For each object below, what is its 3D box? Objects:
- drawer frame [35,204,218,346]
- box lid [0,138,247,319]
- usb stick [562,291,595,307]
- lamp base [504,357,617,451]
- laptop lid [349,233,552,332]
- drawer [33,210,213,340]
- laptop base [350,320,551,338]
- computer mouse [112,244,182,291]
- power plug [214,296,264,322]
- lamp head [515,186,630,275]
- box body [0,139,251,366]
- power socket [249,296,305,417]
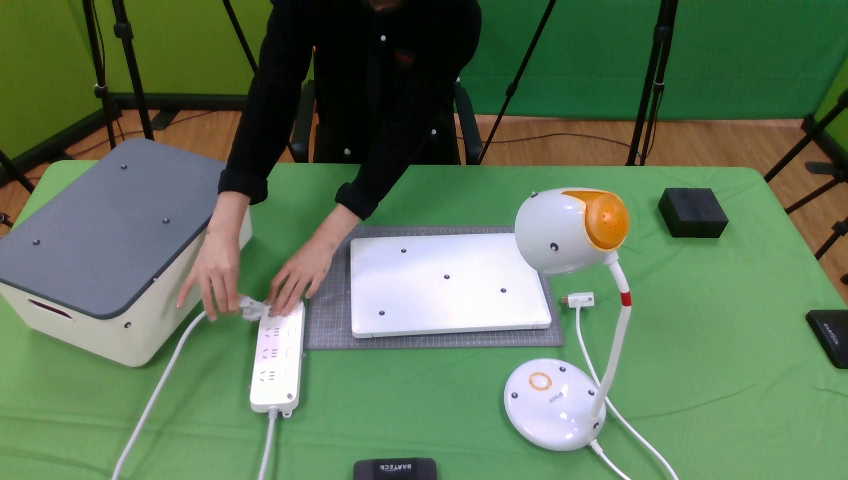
[{"bbox_3d":[-0.505,0.054,1.052,0.201,0.083,0.212,14,52,11],"label":"drawer frame"},{"bbox_3d":[-0.494,-0.037,0.994,0.263,0.015,0.370,17,46,12],"label":"box lid"},{"bbox_3d":[0.280,0.109,1.105,0.059,0.021,0.027,-6,13,23],"label":"usb stick"},{"bbox_3d":[0.220,0.211,0.903,0.160,0.181,0.178,-32,59,-30],"label":"lamp base"},{"bbox_3d":[0.040,0.070,1.119,0.357,0.013,0.240,-1,44,-5],"label":"laptop lid"},{"bbox_3d":[-0.509,0.054,1.046,0.194,0.073,0.211,15,43,11],"label":"drawer"},{"bbox_3d":[0.040,0.080,1.125,0.355,0.023,0.234,-2,43,-6],"label":"laptop base"},{"bbox_3d":[-0.492,0.046,1.078,0.117,0.041,0.062,24,41,13],"label":"computer mouse"},{"bbox_3d":[-0.294,0.109,0.975,0.072,0.053,0.035,12,46,4],"label":"power plug"},{"bbox_3d":[0.188,-0.013,0.728,0.112,0.112,0.122,-25,9,-25],"label":"lamp head"},{"bbox_3d":[-0.496,0.013,1.048,0.254,0.161,0.362,17,47,12],"label":"box body"},{"bbox_3d":[-0.239,0.182,0.997,0.072,0.033,0.225,-2,47,-5],"label":"power socket"}]
